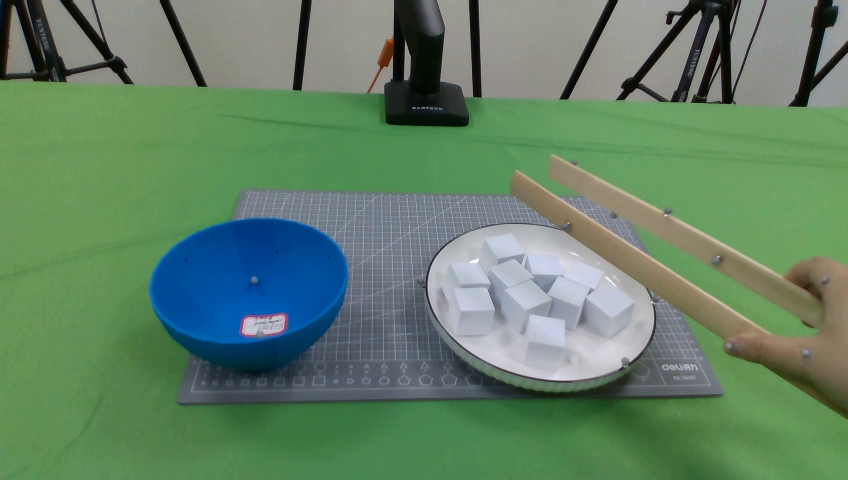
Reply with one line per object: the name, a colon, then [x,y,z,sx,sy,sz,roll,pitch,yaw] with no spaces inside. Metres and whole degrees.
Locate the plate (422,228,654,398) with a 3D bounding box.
plate: [0.100,0.065,0.555,0.208,0.039,0.205,4,38,-2]

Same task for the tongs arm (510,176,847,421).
tongs arm: [0.208,0.050,0.427,0.028,0.028,0.383,-26,49,-36]

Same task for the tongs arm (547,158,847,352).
tongs arm: [0.231,0.038,0.443,0.051,0.027,0.381,-31,51,-35]

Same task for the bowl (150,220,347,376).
bowl: [-0.138,0.058,0.501,0.151,0.077,0.150,4,38,-2]
